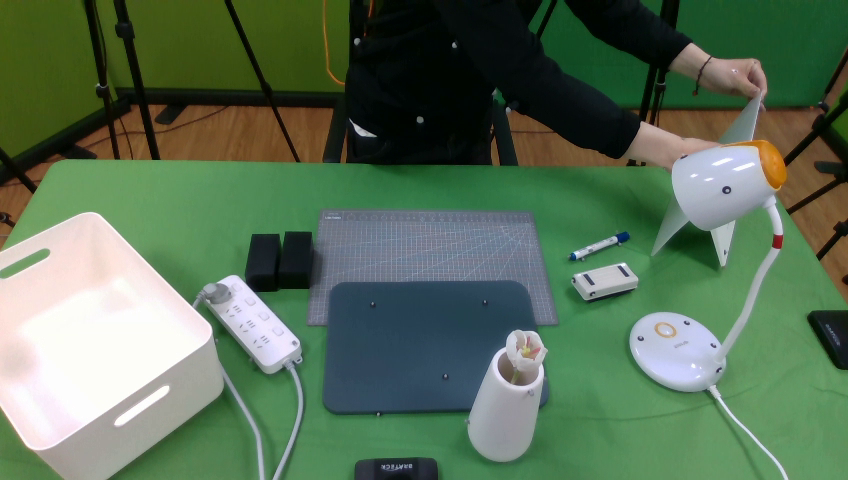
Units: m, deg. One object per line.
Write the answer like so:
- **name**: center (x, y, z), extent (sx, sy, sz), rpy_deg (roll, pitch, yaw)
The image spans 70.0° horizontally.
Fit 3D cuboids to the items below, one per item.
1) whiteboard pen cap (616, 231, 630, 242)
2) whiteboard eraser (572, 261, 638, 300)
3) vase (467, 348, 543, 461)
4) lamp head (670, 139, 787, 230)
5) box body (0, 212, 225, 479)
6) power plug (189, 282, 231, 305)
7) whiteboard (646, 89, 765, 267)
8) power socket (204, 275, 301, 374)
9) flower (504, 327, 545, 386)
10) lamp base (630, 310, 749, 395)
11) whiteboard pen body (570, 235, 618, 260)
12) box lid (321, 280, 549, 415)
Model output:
- **whiteboard pen cap**: center (0.403, -0.007, 1.235), extent (0.033, 0.018, 0.018), rpy_deg (-19, 50, -24)
- **whiteboard eraser**: center (0.338, 0.078, 1.133), extent (0.113, 0.042, 0.055), rpy_deg (-12, 46, -15)
- **vase**: center (0.116, 0.235, 0.860), extent (0.098, 0.201, 0.097), rpy_deg (1, 47, -1)
- **lamp head**: center (0.415, -0.078, 0.811), extent (0.113, 0.123, 0.112), rpy_deg (12, 70, -37)
- **box body**: center (-0.506, 0.155, 0.915), extent (0.362, 0.161, 0.254), rpy_deg (35, 54, 26)
- **power plug**: center (-0.368, 0.097, 1.038), extent (0.072, 0.053, 0.035), rpy_deg (-27, 54, -21)
- **whiteboard**: center (0.591, -0.089, 1.156), extent (0.143, 0.306, 0.216), rpy_deg (32, 52, 6)
- **power socket**: center (-0.296, 0.140, 1.035), extent (0.072, 0.033, 0.225), rpy_deg (-33, 57, -29)
- **flower**: center (0.114, 0.189, 0.790), extent (0.044, 0.363, 0.038), rpy_deg (34, 69, 19)
- **lamp base**: center (0.447, 0.143, 0.984), extent (0.161, 0.181, 0.178), rpy_deg (-24, 55, -24)
- **whiteboard pen body**: center (0.351, 0.011, 1.215), extent (0.141, 0.017, 0.017), rpy_deg (-20, 51, -23)
- **box lid**: center (0.013, 0.174, 1.040), extent (0.372, 0.015, 0.261), rpy_deg (0, 47, -5)
